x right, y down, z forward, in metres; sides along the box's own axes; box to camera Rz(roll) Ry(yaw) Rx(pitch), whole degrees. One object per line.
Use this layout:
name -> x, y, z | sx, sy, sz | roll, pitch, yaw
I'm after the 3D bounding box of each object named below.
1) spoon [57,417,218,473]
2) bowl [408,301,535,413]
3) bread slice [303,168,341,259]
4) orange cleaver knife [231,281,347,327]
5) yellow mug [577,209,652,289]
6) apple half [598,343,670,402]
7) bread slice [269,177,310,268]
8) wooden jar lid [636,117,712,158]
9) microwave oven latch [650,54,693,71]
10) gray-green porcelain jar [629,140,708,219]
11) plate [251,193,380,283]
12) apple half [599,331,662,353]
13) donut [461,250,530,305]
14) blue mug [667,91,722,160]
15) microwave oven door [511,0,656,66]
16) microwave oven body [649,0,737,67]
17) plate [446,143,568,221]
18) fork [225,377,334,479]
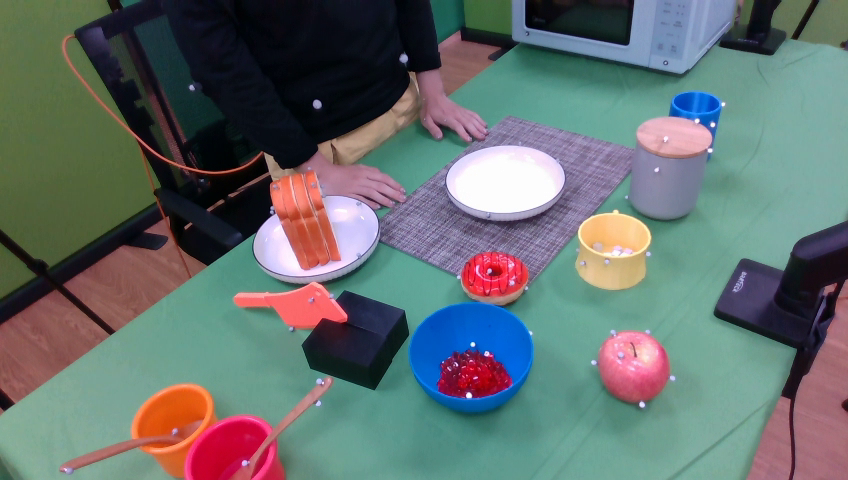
spoon -> -0.304, 0.221, 0.661 | 0.041, 0.195, 0.021 | 19, 92, 27
bowl -> 0.060, 0.156, 0.739 | 0.151, 0.077, 0.150 | -4, 40, 4
bread slice -> -0.161, -0.046, 0.952 | 0.018, 0.135, 0.106 | -18, 45, -6
orange cleaver knife -> -0.192, 0.093, 0.844 | 0.210, 0.077, 0.012 | -7, 31, 38
yellow mug -> 0.279, 0.004, 0.893 | 0.099, 0.064, 0.130 | 5, 41, 15
apple half -> 0.247, 0.161, 0.710 | 0.081, 0.075, 0.053 | 2, 47, 5
bread slice -> -0.211, -0.034, 0.946 | 0.019, 0.132, 0.104 | -19, 39, -3
wooden jar lid -> 0.377, -0.151, 0.917 | 0.108, 0.021, 0.108 | -2, 41, 3
microwave oven latch -> 0.531, -0.386, 1.301 | 0.078, 0.029, 0.030 | 26, 51, 33
gray-green porcelain jar -> 0.383, -0.105, 0.958 | 0.106, 0.127, 0.105 | -4, 41, 4
plate -> -0.173, -0.001, 0.984 | 0.209, 0.038, 0.208 | -4, 41, 4
apple half -> 0.249, 0.134, 0.738 | 0.081, 0.081, 0.032 | -2, 46, 7
donut -> 0.103, 0.053, 0.872 | 0.099, 0.048, 0.098 | -5, 40, 4
blue mug -> 0.474, -0.207, 1.079 | 0.082, 0.106, 0.116 | 4, 42, 13
microwave oven door -> 0.351, -0.540, 1.349 | 0.353, 0.245, 0.039 | 24, 50, 31
microwave oven body -> 0.475, -0.602, 1.411 | 0.438, 0.261, 0.327 | 23, 50, 32
plate -> 0.142, -0.097, 1.045 | 0.207, 0.039, 0.206 | -4, 40, 4
fork -> -0.163, 0.216, 0.646 | 0.207, 0.019, 0.028 | -49, 42, 16
